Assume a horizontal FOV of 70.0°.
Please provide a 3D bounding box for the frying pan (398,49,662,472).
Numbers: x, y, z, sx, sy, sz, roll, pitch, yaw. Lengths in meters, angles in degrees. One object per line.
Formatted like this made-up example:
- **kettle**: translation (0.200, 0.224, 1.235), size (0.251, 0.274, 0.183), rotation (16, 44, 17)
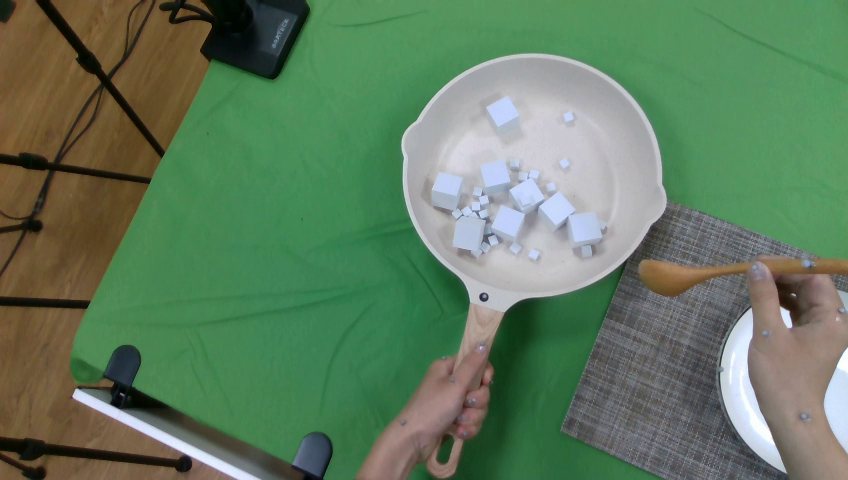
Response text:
- **frying pan**: translation (0.084, 0.015, 0.684), size (0.306, 0.103, 0.485), rotation (17, 72, 10)

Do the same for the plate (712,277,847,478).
- **plate**: translation (0.416, 0.145, 0.653), size (0.207, 0.039, 0.206), rotation (-1, 79, 7)

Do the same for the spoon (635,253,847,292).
- **spoon**: translation (0.256, 0.023, 0.514), size (0.021, 0.193, 0.042), rotation (-36, 102, -31)
